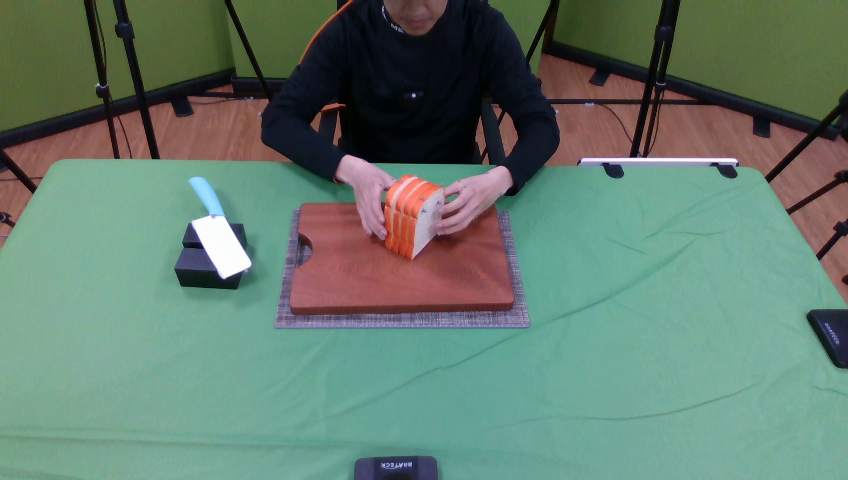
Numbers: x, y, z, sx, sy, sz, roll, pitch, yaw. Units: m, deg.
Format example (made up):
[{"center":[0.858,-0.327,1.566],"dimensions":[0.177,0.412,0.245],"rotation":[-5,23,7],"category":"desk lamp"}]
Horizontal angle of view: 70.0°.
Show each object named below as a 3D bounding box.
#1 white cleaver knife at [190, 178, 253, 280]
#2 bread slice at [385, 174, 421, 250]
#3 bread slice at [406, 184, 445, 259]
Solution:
[{"center":[-0.396,-0.030,1.137],"dimensions":[0.066,0.021,0.284],"rotation":[-21,49,-23],"category":"white cleaver knife"},{"center":[-0.039,-0.060,1.135],"dimensions":[0.019,0.132,0.104],"rotation":[21,46,25],"category":"bread slice"},{"center":[0.003,-0.038,1.116],"dimensions":[0.018,0.135,0.107],"rotation":[28,53,20],"category":"bread slice"}]
